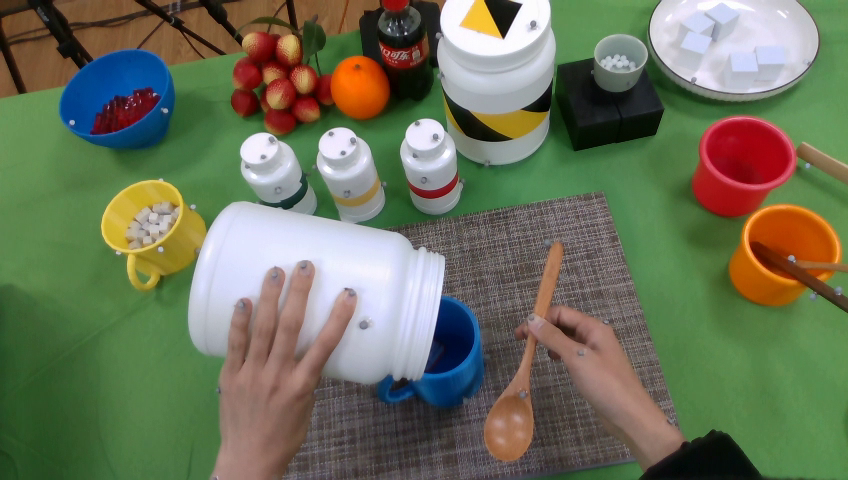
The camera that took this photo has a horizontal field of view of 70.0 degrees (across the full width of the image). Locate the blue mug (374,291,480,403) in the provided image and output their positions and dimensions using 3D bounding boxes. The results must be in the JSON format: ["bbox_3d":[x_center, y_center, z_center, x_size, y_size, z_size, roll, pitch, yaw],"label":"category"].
[{"bbox_3d":[0.000,0.118,0.597,0.116,0.107,0.081,-36,63,-11],"label":"blue mug"}]

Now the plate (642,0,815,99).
[{"bbox_3d":[0.389,-0.263,0.790,0.209,0.038,0.207,-3,63,6],"label":"plate"}]

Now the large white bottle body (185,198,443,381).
[{"bbox_3d":[-0.085,0.045,0.506,0.185,0.131,0.129,12,64,-4],"label":"large white bottle body"}]

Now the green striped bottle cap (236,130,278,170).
[{"bbox_3d":[-0.185,-0.100,0.670,0.044,0.020,0.044,-2,61,4],"label":"green striped bottle cap"}]

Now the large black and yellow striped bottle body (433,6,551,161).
[{"bbox_3d":[0.080,-0.194,0.709,0.130,0.185,0.129,-3,62,6],"label":"large black and yellow striped bottle body"}]

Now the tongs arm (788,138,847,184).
[{"bbox_3d":[0.579,-0.014,0.638,0.381,0.027,0.050,40,70,23],"label":"tongs arm"}]

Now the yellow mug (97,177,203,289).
[{"bbox_3d":[-0.331,-0.004,0.728,0.100,0.064,0.130,-1,63,7],"label":"yellow mug"}]

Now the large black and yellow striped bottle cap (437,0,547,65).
[{"bbox_3d":[0.070,-0.233,0.633,0.115,0.019,0.114,-4,64,8],"label":"large black and yellow striped bottle cap"}]

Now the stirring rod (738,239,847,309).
[{"bbox_3d":[0.356,0.028,0.587,0.014,0.006,0.175,-7,19,0],"label":"stirring rod"}]

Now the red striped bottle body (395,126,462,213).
[{"bbox_3d":[0.005,-0.088,0.701,0.063,0.121,0.062,-6,59,11],"label":"red striped bottle body"}]

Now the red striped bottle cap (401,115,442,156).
[{"bbox_3d":[-0.003,-0.113,0.654,0.044,0.018,0.044,-1,60,2],"label":"red striped bottle cap"}]

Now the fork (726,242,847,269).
[{"bbox_3d":[0.386,0.024,0.578,0.028,0.019,0.206,-47,23,-15],"label":"fork"}]

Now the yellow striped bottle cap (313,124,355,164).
[{"bbox_3d":[-0.098,-0.105,0.662,0.044,0.019,0.044,-1,58,2],"label":"yellow striped bottle cap"}]

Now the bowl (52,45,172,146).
[{"bbox_3d":[-0.405,-0.181,0.822,0.151,0.077,0.150,-3,62,5],"label":"bowl"}]

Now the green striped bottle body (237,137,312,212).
[{"bbox_3d":[-0.177,-0.076,0.716,0.063,0.120,0.062,-3,62,5],"label":"green striped bottle body"}]

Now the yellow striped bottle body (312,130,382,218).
[{"bbox_3d":[-0.091,-0.082,0.708,0.063,0.121,0.062,-3,62,6],"label":"yellow striped bottle body"}]

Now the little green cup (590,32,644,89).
[{"bbox_3d":[0.228,-0.213,0.726,0.061,0.039,0.061,-2,60,4],"label":"little green cup"}]

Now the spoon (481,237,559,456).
[{"bbox_3d":[0.091,0.089,0.525,0.041,0.022,0.193,15,85,16],"label":"spoon"}]
